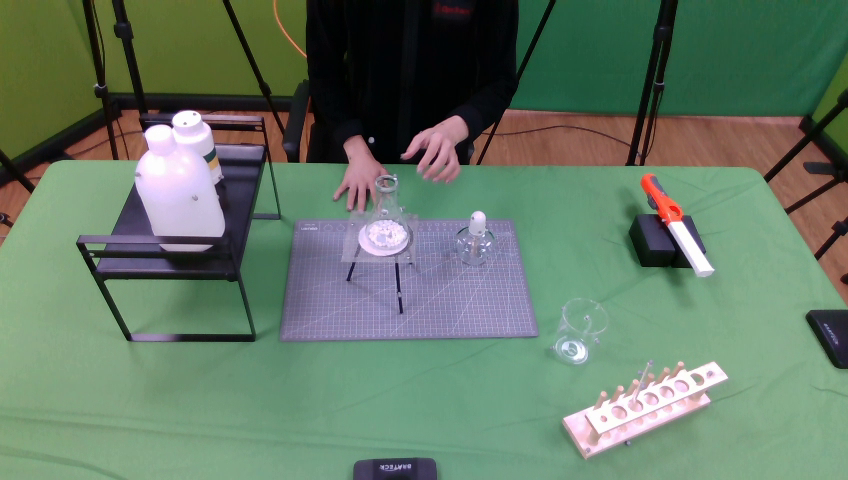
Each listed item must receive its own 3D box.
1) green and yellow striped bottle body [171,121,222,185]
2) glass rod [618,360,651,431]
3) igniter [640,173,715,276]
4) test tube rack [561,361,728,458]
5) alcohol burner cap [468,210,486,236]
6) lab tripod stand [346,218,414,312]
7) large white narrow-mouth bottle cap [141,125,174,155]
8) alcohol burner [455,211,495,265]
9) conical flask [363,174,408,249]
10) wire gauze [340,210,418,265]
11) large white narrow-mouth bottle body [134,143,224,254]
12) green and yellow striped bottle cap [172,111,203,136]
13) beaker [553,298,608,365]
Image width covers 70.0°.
[{"bbox_3d":[-0.375,-0.149,0.995,0.063,0.120,0.063,2,46,-2],"label":"green and yellow striped bottle body"},{"bbox_3d":[0.298,0.227,0.865,0.008,0.201,0.008,-2,48,2],"label":"glass rod"},{"bbox_3d":[0.495,-0.039,1.204,0.057,0.025,0.274,-2,47,-12],"label":"igniter"},{"bbox_3d":[0.341,0.248,0.940,0.243,0.085,0.066,-15,49,-18],"label":"test tube rack"},{"bbox_3d":[0.099,-0.034,1.119,0.034,0.048,0.033,0,52,0],"label":"alcohol burner cap"},{"bbox_3d":[-0.070,0.037,1.075,0.148,0.132,0.147,1,47,-1],"label":"lab tripod stand"},{"bbox_3d":[-0.356,-0.134,0.810,0.038,0.024,0.037,2,48,-2],"label":"large white narrow-mouth bottle cap"},{"bbox_3d":[0.097,-0.010,1.147,0.078,0.120,0.077,1,47,0],"label":"alcohol burner"},{"bbox_3d":[-0.063,-0.049,0.985,0.075,0.122,0.075,2,46,-2],"label":"conical flask"},{"bbox_3d":[-0.074,-0.005,1.024,0.121,0.011,0.124,2,48,1],"label":"wire gauze"},{"bbox_3d":[-0.358,-0.075,0.875,0.102,0.195,0.101,2,48,-1],"label":"large white narrow-mouth bottle body"},{"bbox_3d":[-0.374,-0.185,0.958,0.045,0.020,0.045,4,46,-3],"label":"green and yellow striped bottle cap"},{"bbox_3d":[0.260,0.154,1.015,0.073,0.101,0.084,37,54,27],"label":"beaker"}]
